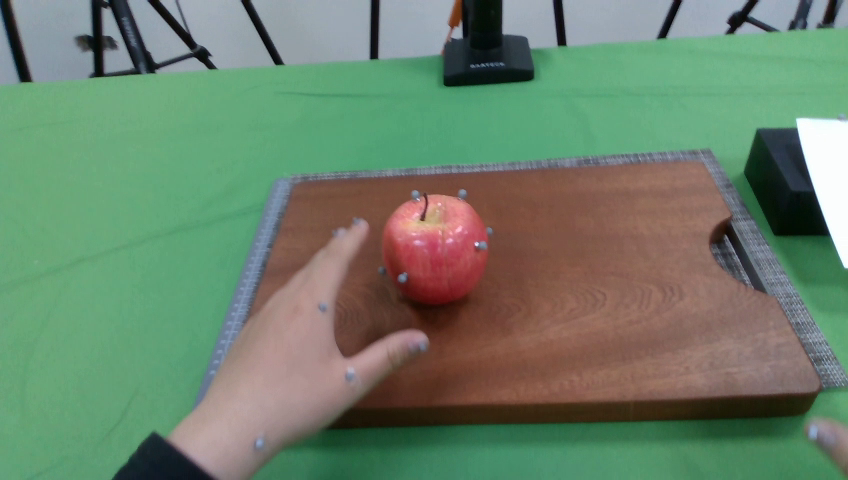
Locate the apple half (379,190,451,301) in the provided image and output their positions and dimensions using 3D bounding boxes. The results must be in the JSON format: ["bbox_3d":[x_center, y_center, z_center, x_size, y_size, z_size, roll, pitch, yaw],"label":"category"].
[{"bbox_3d":[-0.006,0.006,0.462,0.053,0.075,0.080,-6,44,8],"label":"apple half"}]

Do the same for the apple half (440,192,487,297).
[{"bbox_3d":[0.032,0.003,0.458,0.033,0.082,0.080,-6,41,7],"label":"apple half"}]

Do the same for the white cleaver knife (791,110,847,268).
[{"bbox_3d":[0.347,0.000,0.467,0.066,0.022,0.284,-2,53,10],"label":"white cleaver knife"}]
